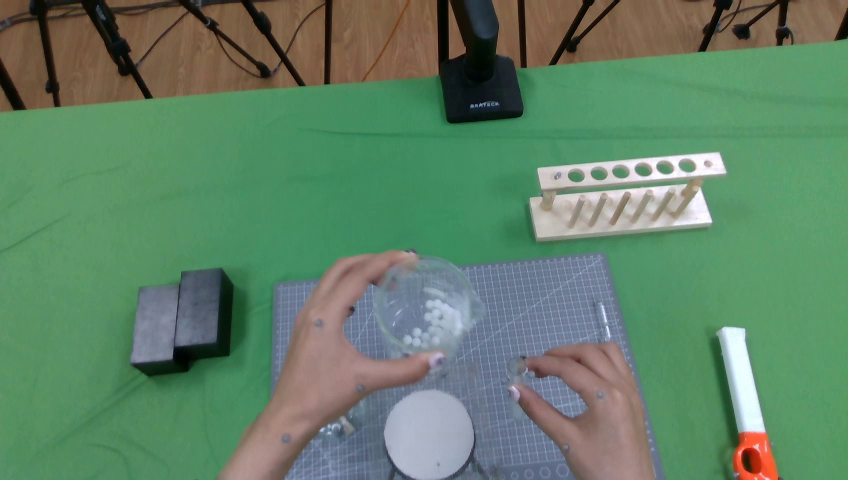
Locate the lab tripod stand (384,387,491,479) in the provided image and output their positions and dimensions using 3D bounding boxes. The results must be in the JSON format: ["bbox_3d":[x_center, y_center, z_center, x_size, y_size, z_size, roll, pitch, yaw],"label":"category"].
[{"bbox_3d":[0.005,0.214,0.649,0.148,0.132,0.147,-1,61,2],"label":"lab tripod stand"}]

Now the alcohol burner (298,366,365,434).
[{"bbox_3d":[-0.106,0.175,0.681,0.078,0.120,0.077,0,60,1],"label":"alcohol burner"}]

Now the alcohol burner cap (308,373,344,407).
[{"bbox_3d":[-0.107,0.159,0.649,0.034,0.048,0.033,-2,67,5],"label":"alcohol burner cap"}]

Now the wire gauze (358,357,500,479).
[{"bbox_3d":[0.003,0.179,0.591,0.125,0.011,0.120,-8,61,-3],"label":"wire gauze"}]

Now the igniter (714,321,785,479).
[{"bbox_3d":[0.379,0.227,0.701,0.057,0.025,0.274,6,62,-8],"label":"igniter"}]

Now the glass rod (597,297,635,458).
[{"bbox_3d":[0.234,0.163,0.743,0.008,0.008,0.198,-4,65,-2],"label":"glass rod"}]

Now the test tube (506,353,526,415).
[{"bbox_3d":[0.082,0.131,0.537,0.017,0.151,0.017,-4,60,7],"label":"test tube"}]

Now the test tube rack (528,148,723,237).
[{"bbox_3d":[0.271,-0.063,0.821,0.242,0.086,0.066,-5,62,-2],"label":"test tube rack"}]

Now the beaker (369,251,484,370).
[{"bbox_3d":[0.001,0.061,0.482,0.084,0.101,0.073,4,68,0],"label":"beaker"}]
